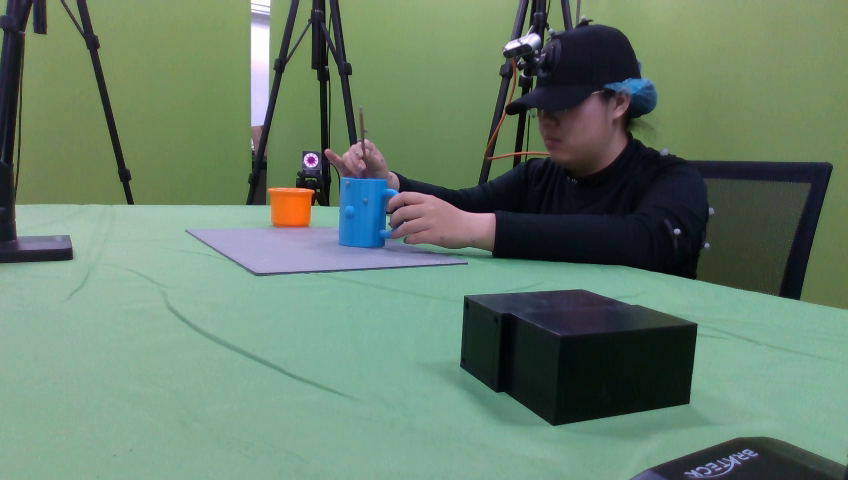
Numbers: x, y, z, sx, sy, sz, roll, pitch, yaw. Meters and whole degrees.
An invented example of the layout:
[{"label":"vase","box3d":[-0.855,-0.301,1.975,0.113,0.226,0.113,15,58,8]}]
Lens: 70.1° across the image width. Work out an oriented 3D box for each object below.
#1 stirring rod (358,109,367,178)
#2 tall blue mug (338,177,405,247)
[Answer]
[{"label":"stirring rod","box3d":[-0.098,-0.124,0.987,0.006,0.176,0.014,-7,8,-17]},{"label":"tall blue mug","box3d":[-0.083,-0.046,0.977,0.107,0.108,0.078,2,6,-1]}]
